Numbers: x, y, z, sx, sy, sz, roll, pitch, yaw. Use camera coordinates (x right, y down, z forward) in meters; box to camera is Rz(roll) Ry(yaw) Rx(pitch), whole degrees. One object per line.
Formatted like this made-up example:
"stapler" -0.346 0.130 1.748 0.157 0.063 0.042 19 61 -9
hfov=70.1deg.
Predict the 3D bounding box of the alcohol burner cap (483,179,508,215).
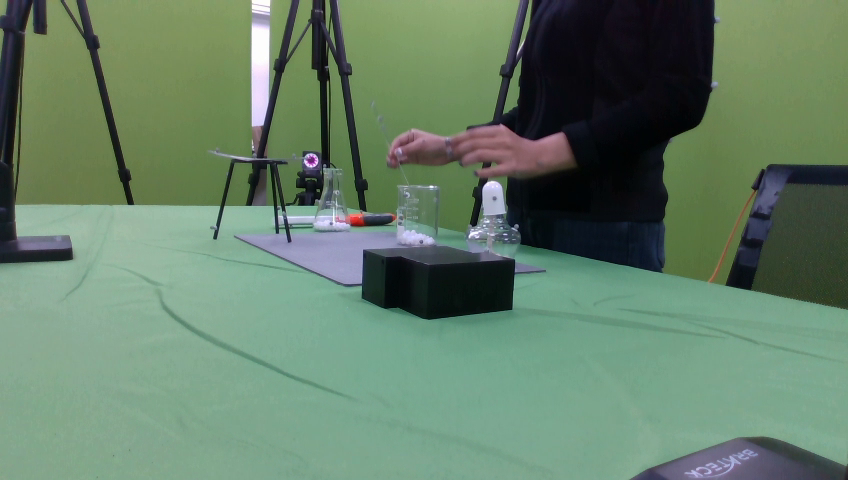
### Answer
"alcohol burner cap" 0.094 -0.057 0.810 0.034 0.048 0.034 -8 6 1

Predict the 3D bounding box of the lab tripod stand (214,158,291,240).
"lab tripod stand" -0.268 -0.068 1.002 0.148 0.131 0.148 3 6 0

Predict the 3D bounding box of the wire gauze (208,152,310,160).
"wire gauze" -0.270 -0.135 0.993 0.124 0.011 0.122 8 8 41

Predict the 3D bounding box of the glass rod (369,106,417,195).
"glass rod" -0.058 -0.172 1.184 0.008 0.200 0.008 -24 23 11

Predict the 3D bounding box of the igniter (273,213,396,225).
"igniter" -0.179 -0.044 1.258 0.278 0.025 0.057 -3 -1 -39

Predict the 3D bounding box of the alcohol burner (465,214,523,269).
"alcohol burner" 0.094 -0.022 0.815 0.078 0.119 0.078 0 6 0

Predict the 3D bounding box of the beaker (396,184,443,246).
"beaker" -0.011 -0.043 1.004 0.083 0.100 0.074 8 9 38

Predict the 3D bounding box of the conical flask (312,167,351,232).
"conical flask" -0.176 -0.078 1.162 0.075 0.122 0.075 3 7 0
